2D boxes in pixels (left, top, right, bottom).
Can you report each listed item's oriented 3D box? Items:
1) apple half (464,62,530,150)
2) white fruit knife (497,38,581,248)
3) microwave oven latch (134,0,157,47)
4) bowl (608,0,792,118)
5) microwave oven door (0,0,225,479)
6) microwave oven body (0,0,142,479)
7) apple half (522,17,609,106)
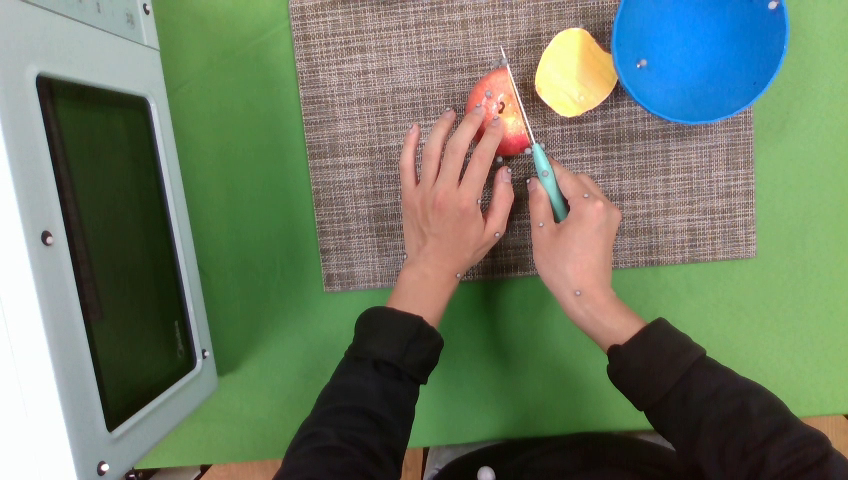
[{"bbox_3d":[0.066,-0.122,0.579,0.053,0.074,0.081,-18,101,14],"label":"apple half"},{"bbox_3d":[0.105,-0.087,0.562,0.016,0.027,0.208,-21,97,11],"label":"white fruit knife"},{"bbox_3d":[-0.284,-0.228,0.586,0.030,0.029,0.079,-7,99,4],"label":"microwave oven latch"},{"bbox_3d":[0.238,-0.186,0.556,0.151,0.076,0.151,1,99,4],"label":"bowl"},{"bbox_3d":[-0.263,0.001,0.517,0.039,0.243,0.356,-7,98,5],"label":"microwave oven door"},{"bbox_3d":[-0.414,-0.023,0.527,0.326,0.259,0.442,-7,99,4],"label":"microwave oven body"},{"bbox_3d":[0.132,-0.168,0.581,0.081,0.032,0.081,2,103,9],"label":"apple half"}]
